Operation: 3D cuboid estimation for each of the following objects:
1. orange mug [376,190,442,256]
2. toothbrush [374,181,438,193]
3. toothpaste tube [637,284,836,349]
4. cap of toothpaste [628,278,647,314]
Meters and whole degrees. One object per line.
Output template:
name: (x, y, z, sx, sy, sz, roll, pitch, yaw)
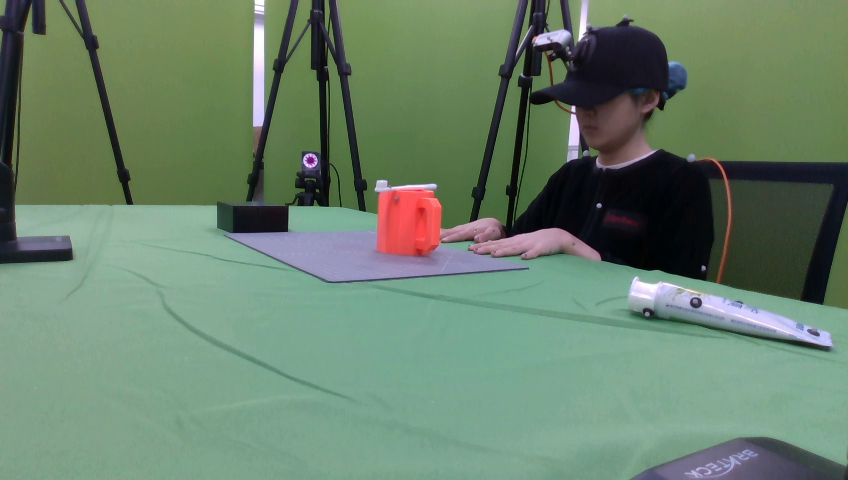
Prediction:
orange mug: (-0.018, -0.028, 0.914, 0.084, 0.100, 0.125, -2, 5, -38)
toothbrush: (-0.023, -0.081, 0.918, 0.014, 0.016, 0.182, 6, 8, 27)
toothpaste tube: (0.275, 0.070, 0.550, 0.164, 0.034, 0.055, 11, 15, 28)
cap of toothpaste: (0.209, 0.055, 0.589, 0.011, 0.037, 0.037, 11, 11, 28)
